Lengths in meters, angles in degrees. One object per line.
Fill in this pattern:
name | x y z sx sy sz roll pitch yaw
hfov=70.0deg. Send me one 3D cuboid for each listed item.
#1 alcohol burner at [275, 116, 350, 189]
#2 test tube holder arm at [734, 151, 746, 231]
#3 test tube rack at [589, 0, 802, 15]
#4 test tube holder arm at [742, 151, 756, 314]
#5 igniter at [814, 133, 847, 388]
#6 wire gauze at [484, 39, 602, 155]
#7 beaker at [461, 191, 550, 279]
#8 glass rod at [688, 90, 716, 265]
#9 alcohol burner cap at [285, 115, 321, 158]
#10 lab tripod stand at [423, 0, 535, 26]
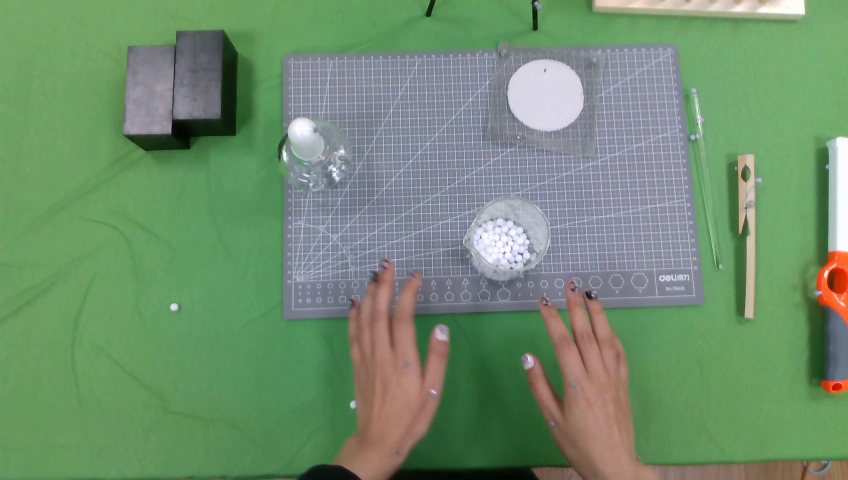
alcohol burner | -0.117 -0.094 0.615 0.078 0.119 0.077 0 80 2
test tube holder arm | 0.348 -0.053 0.665 0.010 0.015 0.087 -4 80 34
test tube rack | 0.314 -0.305 0.669 0.242 0.085 0.066 2 81 0
test tube holder arm | 0.351 -0.009 0.656 0.013 0.015 0.178 -4 79 34
igniter | 0.446 0.020 0.649 0.057 0.025 0.275 8 81 -10
wire gauze | 0.135 -0.164 0.682 0.125 0.011 0.121 9 82 0
beaker | 0.077 0.000 0.610 0.084 0.100 0.073 -10 80 -1
glass rod | 0.309 -0.071 0.672 0.008 0.008 0.199 -4 84 -1
alcohol burner cap | -0.117 -0.102 0.580 0.034 0.048 0.033 1 77 -4
lab tripod stand | 0.067 -0.300 0.642 0.148 0.132 0.148 0 83 0
